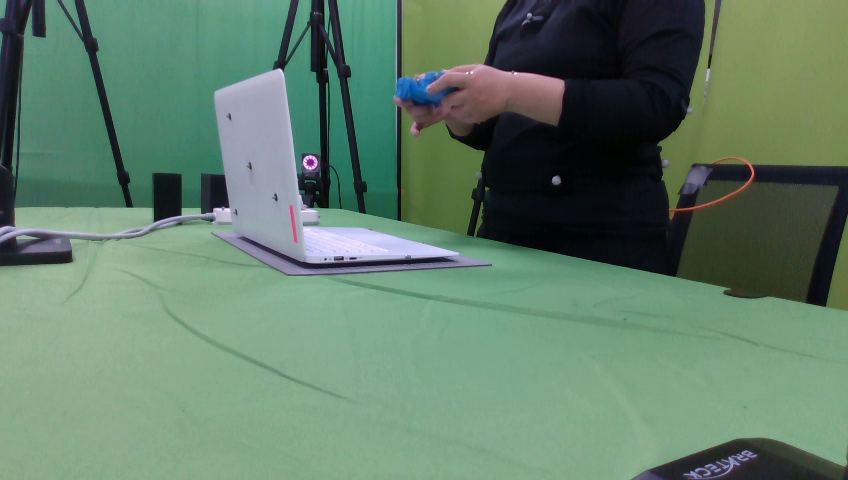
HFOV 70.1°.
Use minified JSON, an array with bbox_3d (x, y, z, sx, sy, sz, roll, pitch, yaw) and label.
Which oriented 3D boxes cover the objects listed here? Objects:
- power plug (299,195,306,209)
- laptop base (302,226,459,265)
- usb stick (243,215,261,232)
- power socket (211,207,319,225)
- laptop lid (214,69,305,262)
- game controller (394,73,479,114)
[{"bbox_3d":[-0.283,-0.075,1.342,0.035,0.052,0.072,0,3,-19],"label":"power plug"},{"bbox_3d":[-0.136,0.006,0.951,0.237,0.023,0.352,2,6,-32],"label":"laptop base"},{"bbox_3d":[-0.302,-0.028,1.070,0.021,0.027,0.059,-1,12,-30],"label":"usb stick"},{"bbox_3d":[-0.334,-0.051,1.281,0.228,0.032,0.072,-1,9,-29],"label":"power socket"},{"bbox_3d":[-0.246,-0.107,0.865,0.013,0.241,0.355,-11,14,-30],"label":"laptop lid"},{"bbox_3d":[0.018,-0.252,1.022,0.097,0.051,0.154,12,0,-32],"label":"game controller"}]
